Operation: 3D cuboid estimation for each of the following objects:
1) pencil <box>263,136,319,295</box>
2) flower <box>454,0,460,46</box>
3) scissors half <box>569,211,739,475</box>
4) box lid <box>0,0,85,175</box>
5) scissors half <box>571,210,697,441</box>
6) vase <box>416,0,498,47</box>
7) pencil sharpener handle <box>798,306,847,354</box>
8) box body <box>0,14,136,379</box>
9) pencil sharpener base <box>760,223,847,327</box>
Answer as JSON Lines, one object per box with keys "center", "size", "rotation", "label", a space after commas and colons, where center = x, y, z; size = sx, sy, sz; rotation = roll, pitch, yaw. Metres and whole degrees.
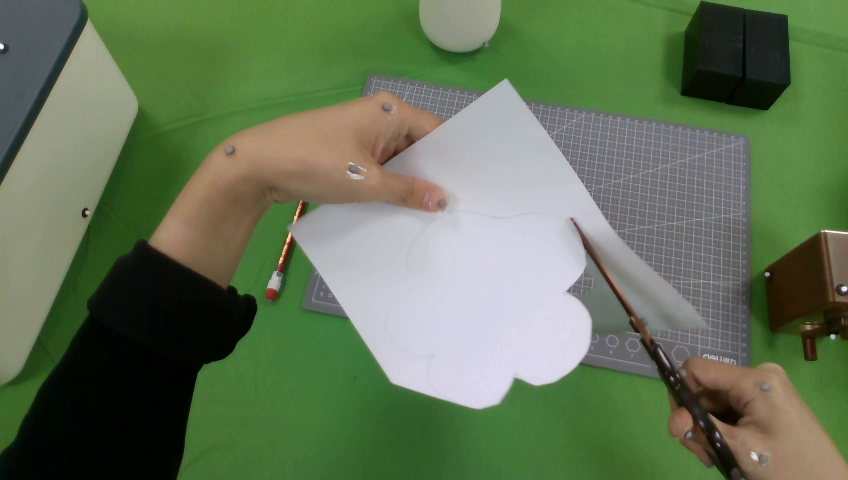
{"center": [-0.140, -0.032, 0.654], "size": [0.012, 0.012, 0.193], "rotation": [11, 67, 5], "label": "pencil"}
{"center": [0.034, -0.352, 0.591], "size": [0.044, 0.365, 0.038], "rotation": [4, 50, 5], "label": "flower"}
{"center": [0.130, 0.058, 0.348], "size": [0.013, 0.040, 0.174], "rotation": [-31, 85, 5], "label": "scissors half"}
{"center": [-0.474, -0.095, 0.512], "size": [0.263, 0.015, 0.369], "rotation": [11, 68, 3], "label": "box lid"}
{"center": [0.132, 0.054, 0.369], "size": [0.013, 0.040, 0.176], "rotation": [-31, 106, 10], "label": "scissors half"}
{"center": [0.038, -0.308, 0.663], "size": [0.098, 0.201, 0.097], "rotation": [0, 67, 1], "label": "vase"}
{"center": [0.368, 0.083, 0.546], "size": [0.036, 0.068, 0.030], "rotation": [11, 68, -10], "label": "pencil sharpener handle"}
{"center": [-0.474, -0.065, 0.581], "size": [0.254, 0.161, 0.362], "rotation": [10, 68, 4], "label": "box body"}
{"center": [0.377, 0.041, 0.576], "size": [0.061, 0.108, 0.076], "rotation": [6, 68, 2], "label": "pencil sharpener base"}
